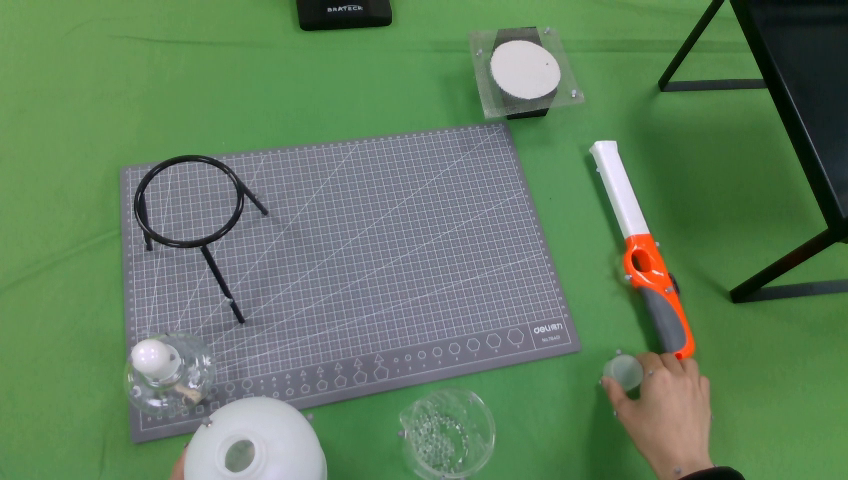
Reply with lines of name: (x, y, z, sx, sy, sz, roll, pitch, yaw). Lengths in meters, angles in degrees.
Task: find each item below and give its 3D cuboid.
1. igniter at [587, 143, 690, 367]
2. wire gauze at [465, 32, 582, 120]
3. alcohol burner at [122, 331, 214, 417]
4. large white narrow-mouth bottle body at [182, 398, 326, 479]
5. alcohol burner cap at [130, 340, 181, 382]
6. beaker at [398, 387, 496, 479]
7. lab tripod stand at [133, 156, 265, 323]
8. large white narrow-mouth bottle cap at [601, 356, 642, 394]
igniter: (0.243, 0.009, 0.692, 0.057, 0.025, 0.274, -4, 66, -21)
wire gauze: (0.117, -0.202, 0.728, 0.122, 0.011, 0.124, -7, 67, -10)
alcohol burner: (-0.228, 0.113, 0.531, 0.078, 0.120, 0.077, 4, 63, -7)
large white narrow-mouth bottle body: (-0.131, 0.178, 0.473, 0.102, 0.196, 0.101, 3, 65, -5)
alcohol burner cap: (-0.223, 0.099, 0.498, 0.034, 0.048, 0.033, 2, 71, -7)
beaker: (0.014, 0.179, 0.545, 0.084, 0.101, 0.073, 18, 64, 2)
lab tripod stand: (-0.207, -0.005, 0.577, 0.149, 0.132, 0.147, 4, 65, -8)
large white narrow-mouth bottle cap: (0.206, 0.141, 0.632, 0.038, 0.024, 0.037, 3, 65, -5)
